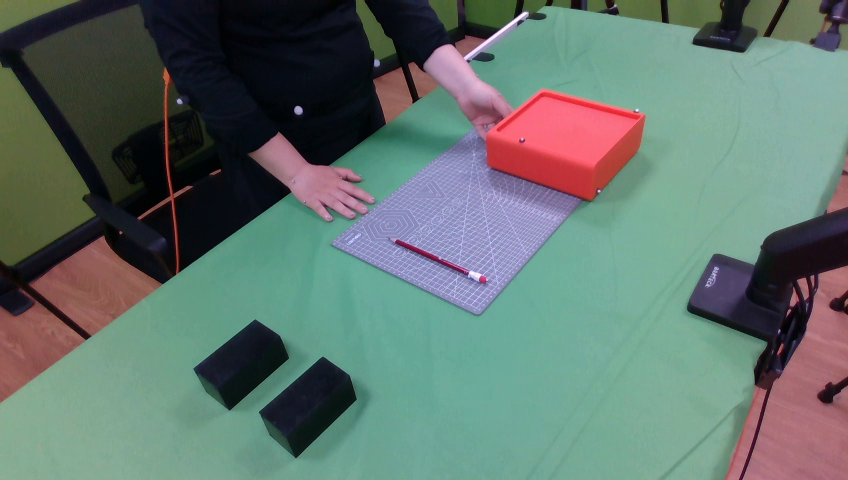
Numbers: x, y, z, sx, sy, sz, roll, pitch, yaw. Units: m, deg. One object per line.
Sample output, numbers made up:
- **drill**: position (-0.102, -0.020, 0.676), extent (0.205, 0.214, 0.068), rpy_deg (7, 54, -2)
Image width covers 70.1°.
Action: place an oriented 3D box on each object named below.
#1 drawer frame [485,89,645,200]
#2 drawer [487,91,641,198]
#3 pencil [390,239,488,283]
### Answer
- **drawer frame**: position (0.253, -0.179, 1.094), extent (0.212, 0.083, 0.202), rpy_deg (24, 48, 30)
- **drawer**: position (0.251, -0.178, 1.095), extent (0.210, 0.073, 0.195), rpy_deg (25, 48, 30)
- **pencil**: position (0.019, 0.030, 0.938), extent (0.192, 0.012, 0.012), rpy_deg (22, 48, 33)
